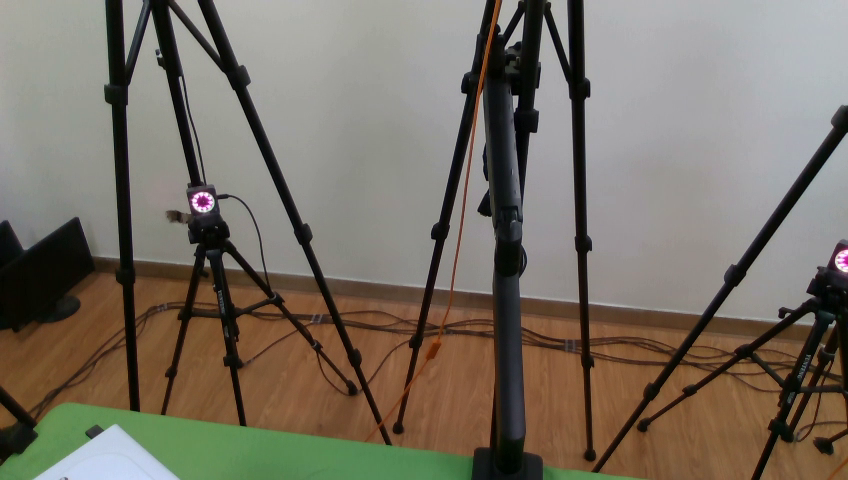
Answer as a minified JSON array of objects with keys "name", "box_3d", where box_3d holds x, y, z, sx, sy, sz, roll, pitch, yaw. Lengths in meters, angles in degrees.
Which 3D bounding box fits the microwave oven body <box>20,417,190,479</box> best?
[{"name":"microwave oven body","box_3d":[-0.434,0.477,0.673,0.323,0.262,0.441,23,40,29]}]
